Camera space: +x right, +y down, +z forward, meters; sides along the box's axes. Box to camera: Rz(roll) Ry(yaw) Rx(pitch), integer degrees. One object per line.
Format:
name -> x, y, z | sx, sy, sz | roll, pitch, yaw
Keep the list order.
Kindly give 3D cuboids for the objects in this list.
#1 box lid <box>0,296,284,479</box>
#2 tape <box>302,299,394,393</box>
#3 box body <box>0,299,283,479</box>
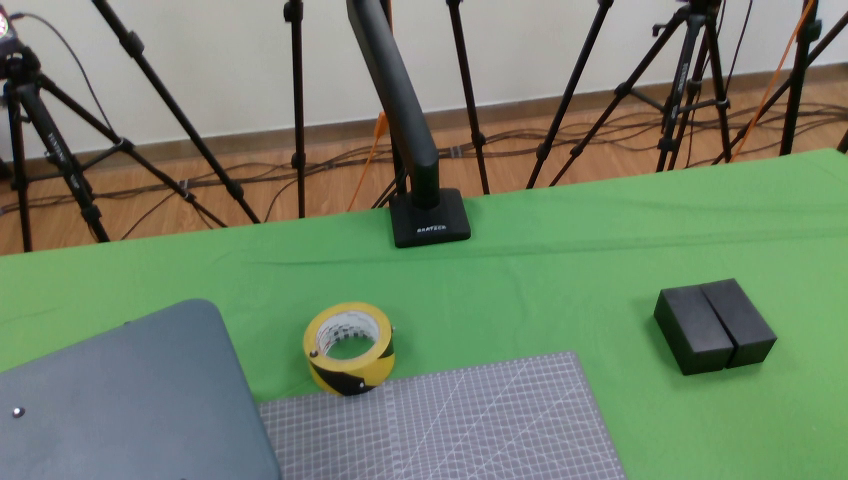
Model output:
box lid -> -0.331, 0.201, 0.533 | 0.372, 0.015, 0.260 | -23, 49, -18
tape -> -0.097, 0.133, 0.773 | 0.117, 0.053, 0.115 | -2, 42, 2
box body -> -0.329, 0.254, 0.586 | 0.364, 0.162, 0.251 | -23, 48, -18
